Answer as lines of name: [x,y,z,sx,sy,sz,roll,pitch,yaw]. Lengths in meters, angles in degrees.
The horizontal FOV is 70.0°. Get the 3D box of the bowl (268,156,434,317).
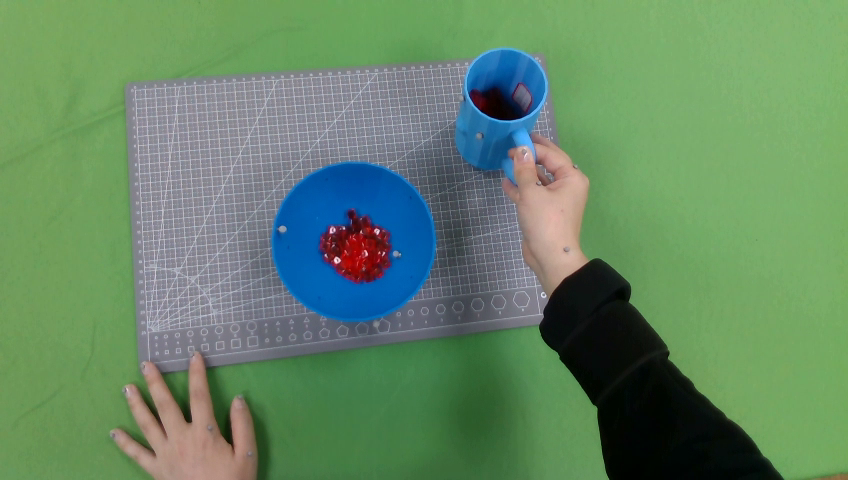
bowl: [-0.068,0.002,0.587,0.151,0.077,0.151,1,81,-6]

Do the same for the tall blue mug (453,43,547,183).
tall blue mug: [0.082,-0.119,0.593,0.107,0.108,0.077,41,76,8]
